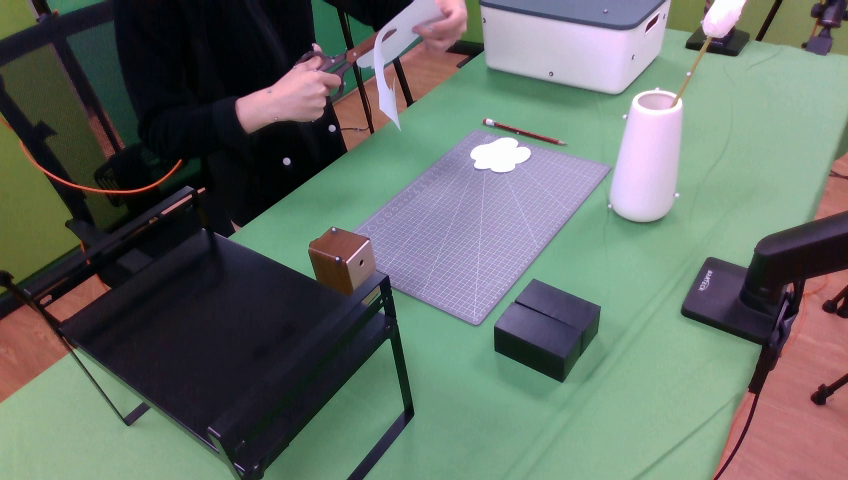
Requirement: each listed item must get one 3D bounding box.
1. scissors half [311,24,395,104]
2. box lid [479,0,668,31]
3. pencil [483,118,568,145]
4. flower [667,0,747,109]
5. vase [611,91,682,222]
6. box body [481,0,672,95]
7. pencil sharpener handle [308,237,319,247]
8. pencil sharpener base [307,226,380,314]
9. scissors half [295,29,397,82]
[{"bbox_3d":[-0.110,-0.276,0.947,0.175,0.040,0.012,-41,23,18],"label":"scissors half"},{"bbox_3d":[0.335,-0.536,1.331,0.368,0.015,0.264,23,49,30],"label":"box lid"},{"bbox_3d":[0.201,-0.217,1.212,0.192,0.012,0.012,24,49,29],"label":"pencil"},{"bbox_3d":[0.354,-0.187,0.879,0.038,0.362,0.044,30,48,14],"label":"flower"},{"bbox_3d":[0.348,-0.125,0.935,0.098,0.201,0.097,-3,40,3],"label":"vase"},{"bbox_3d":[0.341,-0.480,1.381,0.361,0.161,0.255,22,48,30],"label":"box body"},{"bbox_3d":[-0.159,0.017,0.892,0.030,0.068,0.036,18,61,28],"label":"pencil sharpener handle"},{"bbox_3d":[-0.116,0.043,0.875,0.076,0.107,0.061,18,47,27],"label":"pencil sharpener base"},{"bbox_3d":[-0.122,-0.291,0.937,0.175,0.040,0.013,-20,32,7],"label":"scissors half"}]
